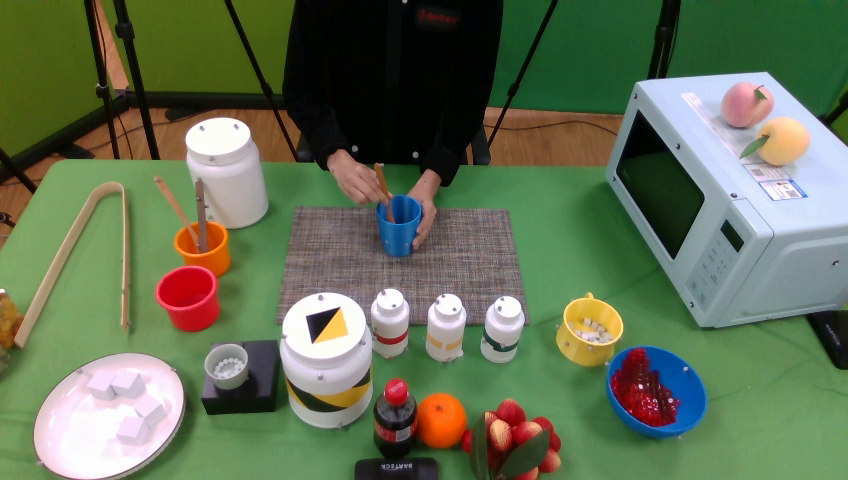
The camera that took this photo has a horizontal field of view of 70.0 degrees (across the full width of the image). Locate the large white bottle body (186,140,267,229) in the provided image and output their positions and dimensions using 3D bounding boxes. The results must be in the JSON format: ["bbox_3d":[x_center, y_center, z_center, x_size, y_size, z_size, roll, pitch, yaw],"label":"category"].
[{"bbox_3d":[-0.382,-0.127,1.175,0.131,0.185,0.130,2,47,-2],"label":"large white bottle body"}]

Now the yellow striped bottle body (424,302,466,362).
[{"bbox_3d":[0.035,0.143,0.995,0.063,0.121,0.062,3,46,-3],"label":"yellow striped bottle body"}]

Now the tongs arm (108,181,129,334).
[{"bbox_3d":[-0.571,0.019,1.123,0.051,0.026,0.382,-10,47,-12],"label":"tongs arm"}]

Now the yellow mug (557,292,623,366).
[{"bbox_3d":[0.285,0.145,1.051,0.100,0.064,0.130,7,46,4],"label":"yellow mug"}]

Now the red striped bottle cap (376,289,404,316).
[{"bbox_3d":[-0.054,0.098,0.958,0.044,0.018,0.044,0,48,1],"label":"red striped bottle cap"}]

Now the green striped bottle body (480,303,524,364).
[{"bbox_3d":[0.129,0.147,1.000,0.063,0.120,0.063,2,46,-2],"label":"green striped bottle body"}]

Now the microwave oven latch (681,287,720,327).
[{"bbox_3d":[0.494,0.119,1.087,0.030,0.029,0.078,-5,46,-9],"label":"microwave oven latch"}]

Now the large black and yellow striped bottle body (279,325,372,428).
[{"bbox_3d":[-0.143,0.181,0.900,0.131,0.185,0.130,2,46,-2],"label":"large black and yellow striped bottle body"}]

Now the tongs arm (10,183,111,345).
[{"bbox_3d":[-0.658,0.027,1.109,0.028,0.028,0.385,-2,45,2],"label":"tongs arm"}]

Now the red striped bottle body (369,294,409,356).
[{"bbox_3d":[-0.059,0.134,0.997,0.063,0.120,0.062,5,48,-5],"label":"red striped bottle body"}]

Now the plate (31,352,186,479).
[{"bbox_3d":[-0.459,0.262,0.898,0.209,0.038,0.208,2,46,-2],"label":"plate"}]

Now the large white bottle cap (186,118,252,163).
[{"bbox_3d":[-0.377,-0.185,1.115,0.115,0.018,0.114,2,46,-2],"label":"large white bottle cap"}]

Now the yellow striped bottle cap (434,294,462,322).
[{"bbox_3d":[0.038,0.107,0.958,0.044,0.019,0.044,2,45,-2],"label":"yellow striped bottle cap"}]

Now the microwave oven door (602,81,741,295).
[{"bbox_3d":[0.456,-0.107,1.162,0.039,0.245,0.353,-7,47,-11],"label":"microwave oven door"}]

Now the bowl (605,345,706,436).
[{"bbox_3d":[0.351,0.248,0.949,0.151,0.077,0.150,2,46,-2],"label":"bowl"}]

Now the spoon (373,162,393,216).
[{"bbox_3d":[-0.070,-0.067,1.119,0.041,0.195,0.021,14,47,26],"label":"spoon"}]

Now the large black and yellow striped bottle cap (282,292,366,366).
[{"bbox_3d":[-0.138,0.121,0.841,0.115,0.019,0.114,3,47,-3],"label":"large black and yellow striped bottle cap"}]

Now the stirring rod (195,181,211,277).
[{"bbox_3d":[-0.403,-0.020,1.104,0.014,0.006,0.176,-6,89,-9],"label":"stirring rod"}]

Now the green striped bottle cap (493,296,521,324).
[{"bbox_3d":[0.133,0.111,0.963,0.044,0.020,0.044,2,48,-2],"label":"green striped bottle cap"}]

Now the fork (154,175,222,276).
[{"bbox_3d":[-0.431,-0.026,1.101,0.028,0.018,0.207,-33,100,-25],"label":"fork"}]

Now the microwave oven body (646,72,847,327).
[{"bbox_3d":[0.607,-0.089,1.164,0.326,0.261,0.438,-7,46,-10],"label":"microwave oven body"}]

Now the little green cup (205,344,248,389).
[{"bbox_3d":[-0.294,0.191,0.909,0.061,0.039,0.061,1,47,-1],"label":"little green cup"}]

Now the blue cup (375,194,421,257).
[{"bbox_3d":[-0.051,-0.022,1.157,0.093,0.101,0.092,3,45,-2],"label":"blue cup"}]
